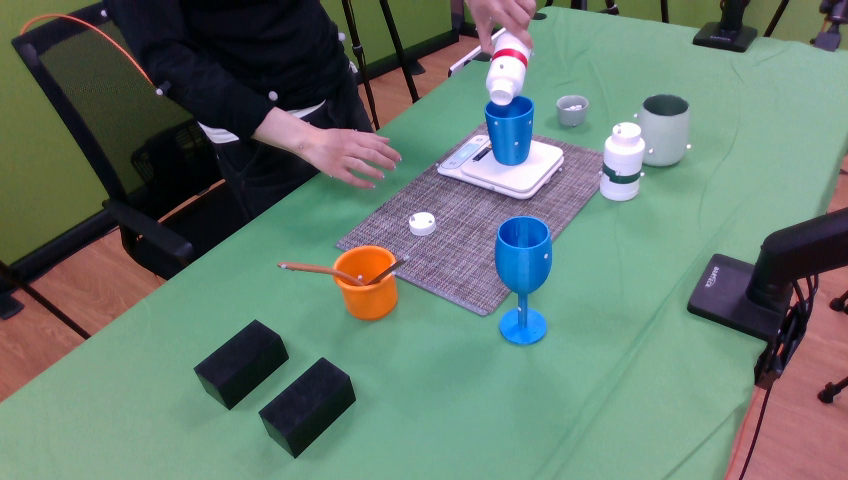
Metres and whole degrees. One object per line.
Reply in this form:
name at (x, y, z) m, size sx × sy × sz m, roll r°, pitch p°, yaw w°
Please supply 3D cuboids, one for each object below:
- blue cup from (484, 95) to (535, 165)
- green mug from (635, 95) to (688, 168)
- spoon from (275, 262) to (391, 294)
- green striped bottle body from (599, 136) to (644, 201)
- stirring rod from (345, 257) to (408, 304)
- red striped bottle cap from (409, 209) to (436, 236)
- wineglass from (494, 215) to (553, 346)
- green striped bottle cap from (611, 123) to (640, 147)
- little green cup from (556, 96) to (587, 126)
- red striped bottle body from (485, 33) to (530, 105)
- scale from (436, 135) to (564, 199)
blue cup at (0.150, -0.187, 1.052) m, size 0.092 × 0.101 × 0.092 m, roll -6°, pitch 39°, yaw 5°
green mug at (0.421, -0.201, 1.081) m, size 0.092 × 0.105 × 0.125 m, roll 5°, pitch 42°, yaw 15°
spoon at (-0.120, 0.050, 0.830) m, size 0.041 × 0.195 × 0.021 m, roll 31°, pitch 97°, yaw 45°
green striped bottle body at (0.326, -0.128, 0.997) m, size 0.063 × 0.120 × 0.063 m, roll -4°, pitch 41°, yaw 4°
stirring rod at (-0.067, 0.057, 0.815) m, size 0.014 × 0.175 × 0.006 m, roll -24°, pitch 82°, yaw -38°
red striped bottle cap at (-0.003, -0.029, 1.000) m, size 0.044 × 0.018 × 0.044 m, roll -5°, pitch 55°, yaw 8°
wineglass at (0.127, 0.055, 0.770) m, size 0.074 × 0.173 × 0.073 m, roll -4°, pitch 40°, yaw 4°
green striped bottle cap at (0.322, -0.168, 0.963) m, size 0.044 × 0.020 × 0.044 m, roll -3°, pitch 42°, yaw 3°
little green cup at (0.295, -0.258, 1.214) m, size 0.061 × 0.039 × 0.061 m, roll -4°, pitch 42°, yaw 4°
red striped bottle body at (0.141, -0.289, 1.033) m, size 0.063 × 0.063 × 0.119 m, roll 7°, pitch 63°, yaw 16°
scale at (0.137, -0.142, 1.101) m, size 0.199 × 0.032 × 0.149 m, roll 22°, pitch 48°, yaw 30°
